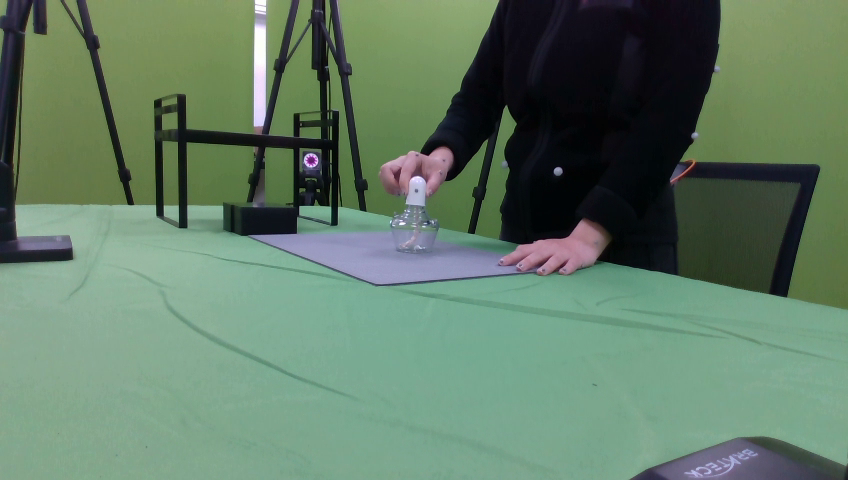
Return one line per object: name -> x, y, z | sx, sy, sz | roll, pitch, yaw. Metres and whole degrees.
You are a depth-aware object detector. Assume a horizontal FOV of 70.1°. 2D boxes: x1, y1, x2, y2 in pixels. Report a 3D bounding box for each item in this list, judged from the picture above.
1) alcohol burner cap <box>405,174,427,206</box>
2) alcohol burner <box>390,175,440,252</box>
alcohol burner cap -> -0.011, -0.077, 0.925 | 0.034, 0.048, 0.034 | 3, 2, 0
alcohol burner -> -0.012, -0.041, 0.930 | 0.078, 0.119, 0.078 | 4, 8, 0
